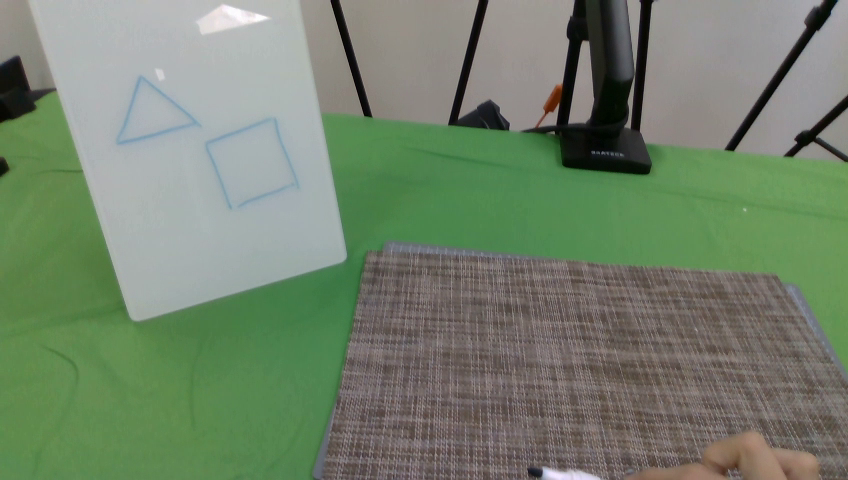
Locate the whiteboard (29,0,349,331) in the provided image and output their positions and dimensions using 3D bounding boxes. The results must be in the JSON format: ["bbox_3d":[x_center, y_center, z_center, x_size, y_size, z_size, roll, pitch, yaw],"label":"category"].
[{"bbox_3d":[-0.224,-0.101,0.616,0.218,0.307,0.142,-16,21,-23],"label":"whiteboard"}]

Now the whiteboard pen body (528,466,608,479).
[{"bbox_3d":[0.118,0.142,0.317,0.141,0.017,0.017,21,36,-7],"label":"whiteboard pen body"}]
